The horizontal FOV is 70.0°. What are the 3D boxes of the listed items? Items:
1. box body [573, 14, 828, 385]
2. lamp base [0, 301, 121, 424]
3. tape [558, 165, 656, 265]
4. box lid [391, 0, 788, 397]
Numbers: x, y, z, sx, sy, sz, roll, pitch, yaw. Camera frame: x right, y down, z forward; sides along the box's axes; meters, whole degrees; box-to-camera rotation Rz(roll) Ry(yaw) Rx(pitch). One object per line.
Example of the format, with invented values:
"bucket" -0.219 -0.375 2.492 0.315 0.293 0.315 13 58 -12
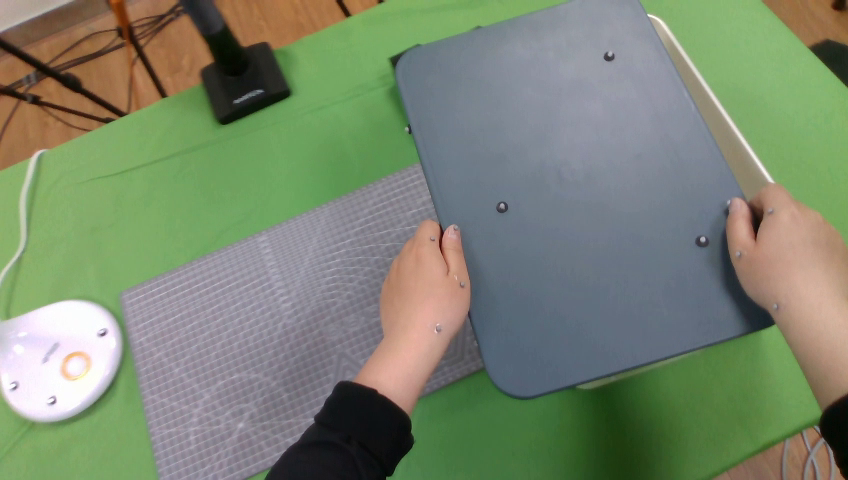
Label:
"box body" 0.212 -0.043 0.692 0.254 0.162 0.360 -20 64 -1
"lamp base" -0.491 0.120 0.713 0.178 0.182 0.159 11 67 16
"tape" 0.221 -0.032 0.741 0.117 0.053 0.116 -3 66 7
"box lid" 0.133 -0.066 0.561 0.263 0.015 0.368 -17 69 -1
